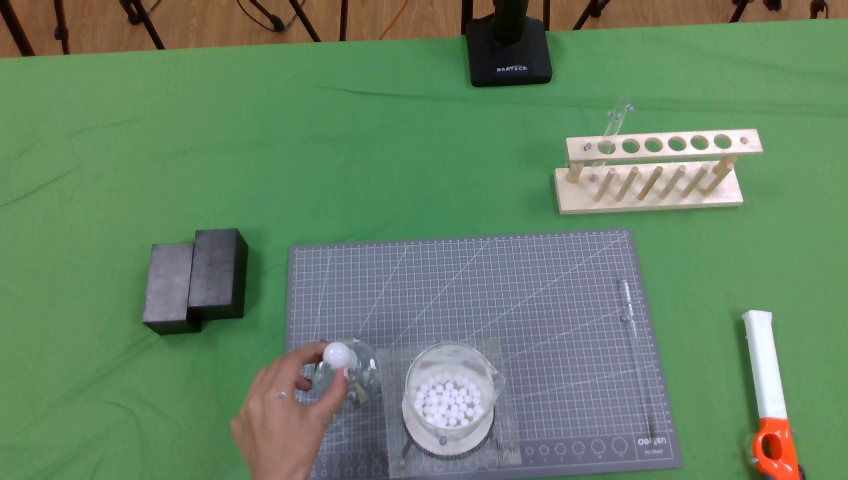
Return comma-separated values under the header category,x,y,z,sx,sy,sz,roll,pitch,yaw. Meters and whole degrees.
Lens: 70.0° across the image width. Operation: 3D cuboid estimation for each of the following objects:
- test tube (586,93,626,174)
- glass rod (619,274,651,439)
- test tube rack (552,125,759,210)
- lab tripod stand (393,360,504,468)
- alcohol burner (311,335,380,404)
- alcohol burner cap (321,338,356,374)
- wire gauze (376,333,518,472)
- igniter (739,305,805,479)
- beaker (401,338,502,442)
category,x,y,z,sx,sy,sz,roll,pitch,yaw
test tube,0.224,-0.128,0.752,0.017,0.151,0.017,-1,62,1
glass rod,0.252,0.136,0.727,0.008,0.008,0.198,-2,69,-1
test tube rack,0.298,-0.093,0.791,0.242,0.086,0.066,-3,65,-1
lab tripod stand,0.021,0.183,0.637,0.148,0.132,0.147,-1,65,2
alcohol burner,-0.089,0.138,0.668,0.078,0.120,0.077,0,63,0
alcohol burner cap,-0.090,0.119,0.627,0.034,0.048,0.033,-1,67,3
wire gauze,0.020,0.152,0.578,0.125,0.011,0.120,-7,64,-1
igniter,0.394,0.207,0.688,0.057,0.025,0.274,8,66,-8
beaker,0.023,0.135,0.533,0.084,0.101,0.073,-8,65,-3
